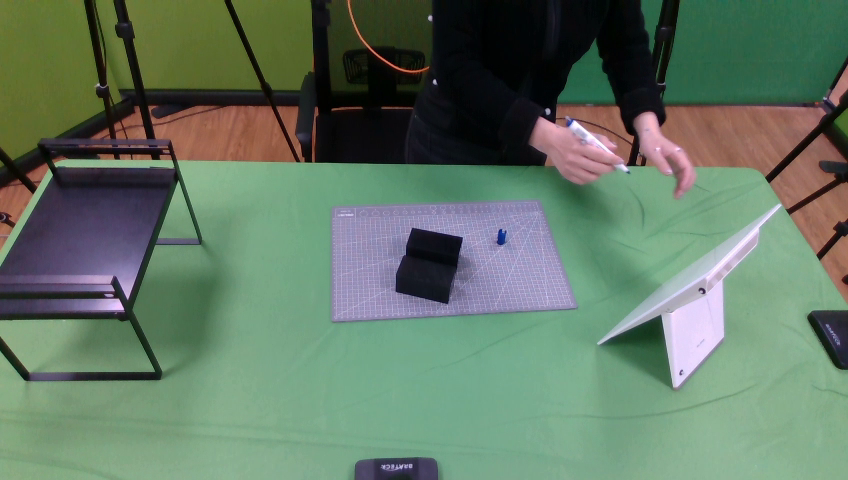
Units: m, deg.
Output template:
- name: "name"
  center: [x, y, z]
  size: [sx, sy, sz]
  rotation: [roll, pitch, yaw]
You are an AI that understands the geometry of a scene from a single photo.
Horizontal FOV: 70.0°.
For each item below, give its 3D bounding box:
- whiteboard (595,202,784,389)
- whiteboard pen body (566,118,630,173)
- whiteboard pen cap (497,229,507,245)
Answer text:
- name: "whiteboard"
  center: [0.459, 0.112, 0.968]
  size: [0.217, 0.306, 0.143]
  rotation: [-31, 74, -29]
- name: "whiteboard pen body"
  center: [0.290, -0.154, 1.002]
  size: [0.141, 0.017, 0.017]
  rotation: [36, 47, -12]
- name: "whiteboard pen cap"
  center: [0.155, -0.005, 1.203]
  size: [0.018, 0.033, 0.018]
  rotation: [0, 44, 0]
